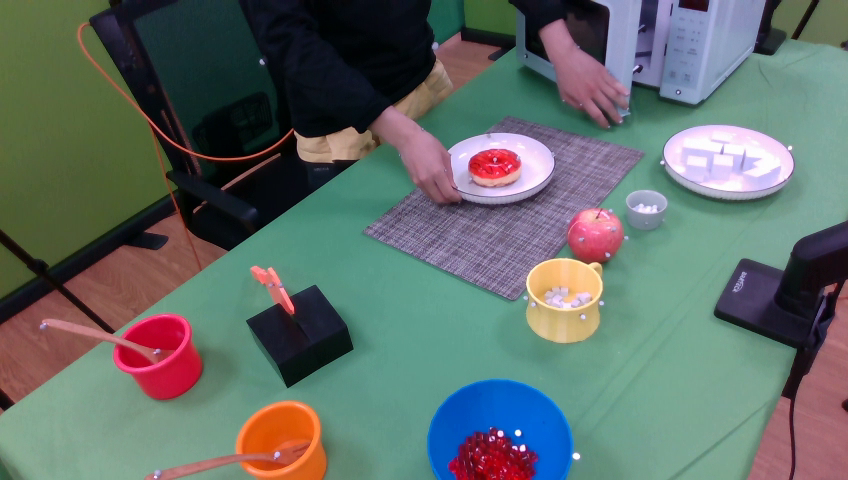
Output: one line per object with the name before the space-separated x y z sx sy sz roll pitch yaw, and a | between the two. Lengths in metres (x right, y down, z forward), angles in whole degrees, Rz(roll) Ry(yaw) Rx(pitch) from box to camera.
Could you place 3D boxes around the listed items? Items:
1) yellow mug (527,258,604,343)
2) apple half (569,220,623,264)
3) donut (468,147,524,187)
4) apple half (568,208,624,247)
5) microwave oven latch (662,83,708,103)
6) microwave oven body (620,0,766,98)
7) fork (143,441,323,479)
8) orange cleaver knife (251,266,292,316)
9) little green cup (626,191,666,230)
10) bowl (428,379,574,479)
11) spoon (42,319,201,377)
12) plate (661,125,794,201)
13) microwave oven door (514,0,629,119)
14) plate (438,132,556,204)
yellow mug | 0.202 0.073 0.825 0.131 0.064 0.099 -32 46 -27
apple half | 0.251 0.010 0.884 0.081 0.081 0.032 3 37 12
donut | 0.128 -0.132 1.075 0.099 0.048 0.098 -5 38 5
apple half | 0.259 -0.014 0.914 0.080 0.075 0.053 0 36 15
microwave oven latch | 0.518 -0.296 1.204 0.078 0.029 0.030 28 52 35
microwave oven body | 0.472 -0.513 1.317 0.438 0.261 0.327 26 51 34
fork | -0.189 0.231 0.631 0.028 0.018 0.209 35 13 37
orange cleaver knife | -0.221 0.071 0.873 0.012 0.077 0.210 -25 11 -21
little green cup | 0.352 -0.046 0.963 0.061 0.039 0.061 -4 40 4
bowl | 0.082 0.233 0.644 0.151 0.077 0.150 -4 39 4
spoon | -0.385 0.135 0.779 0.195 0.021 0.041 28 36 -26
plate | 0.513 -0.128 1.035 0.207 0.039 0.206 -4 40 4
microwave oven door | 0.296 -0.426 1.234 0.039 0.245 0.352 -23 43 -17
plate | 0.130 -0.125 1.084 0.209 0.038 0.208 -4 40 4
